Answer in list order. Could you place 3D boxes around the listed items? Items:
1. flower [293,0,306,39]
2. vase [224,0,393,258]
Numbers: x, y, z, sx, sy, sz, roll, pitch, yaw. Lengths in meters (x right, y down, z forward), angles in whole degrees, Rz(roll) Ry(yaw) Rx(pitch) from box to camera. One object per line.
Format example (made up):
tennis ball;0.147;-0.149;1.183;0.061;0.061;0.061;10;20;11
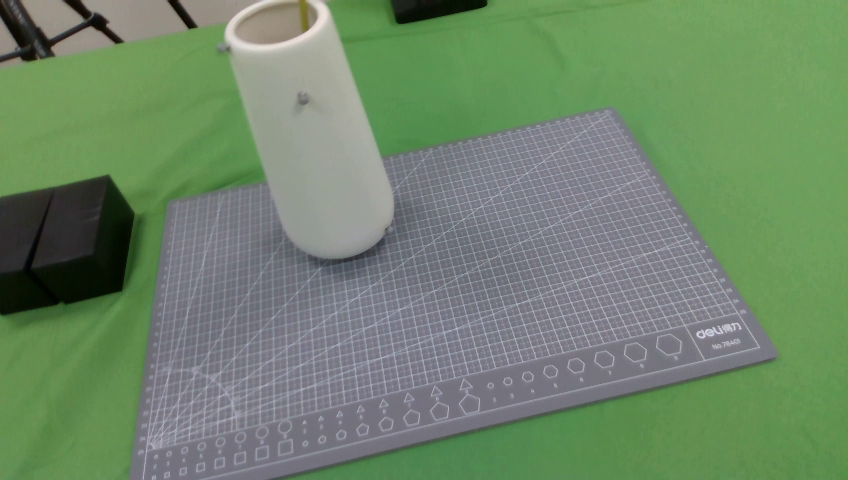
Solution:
flower;-0.083;-0.141;0.412;0.044;0.364;0.038;12;35;15
vase;-0.085;-0.076;0.468;0.098;0.202;0.097;-5;48;6
